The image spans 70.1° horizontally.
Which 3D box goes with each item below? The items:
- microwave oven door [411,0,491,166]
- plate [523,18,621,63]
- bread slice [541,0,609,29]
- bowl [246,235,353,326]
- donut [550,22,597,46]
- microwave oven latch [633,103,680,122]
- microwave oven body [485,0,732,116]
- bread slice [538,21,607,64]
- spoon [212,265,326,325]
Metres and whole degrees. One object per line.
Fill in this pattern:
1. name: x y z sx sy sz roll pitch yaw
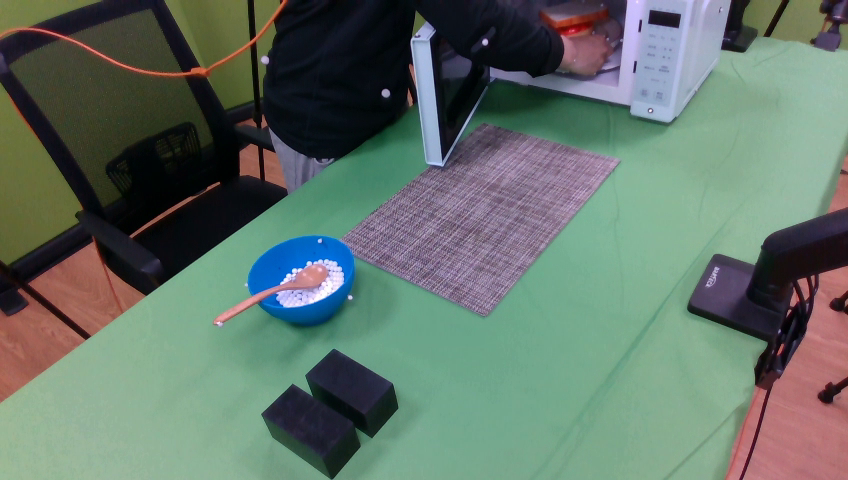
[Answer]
1. microwave oven door: 0.063 -0.342 1.164 0.039 0.245 0.355 9 43 18
2. plate: 0.321 -0.435 1.320 0.207 0.039 0.206 -5 41 5
3. bread slice: 0.323 -0.483 1.284 0.132 0.019 0.104 -11 40 -1
4. bowl: -0.170 0.070 0.868 0.151 0.077 0.150 -4 41 4
5. donut: 0.320 -0.452 1.294 0.099 0.048 0.098 -10 38 8
6. microwave oven latch: 0.444 -0.249 1.158 0.078 0.029 0.030 21 49 30
7. microwave oven body: 0.377 -0.463 1.267 0.438 0.261 0.327 21 49 30
8. bread slice: 0.328 -0.439 1.320 0.134 0.018 0.106 -25 51 -2
9. spoon: -0.207 0.072 0.822 0.041 0.021 0.195 27 29 27
